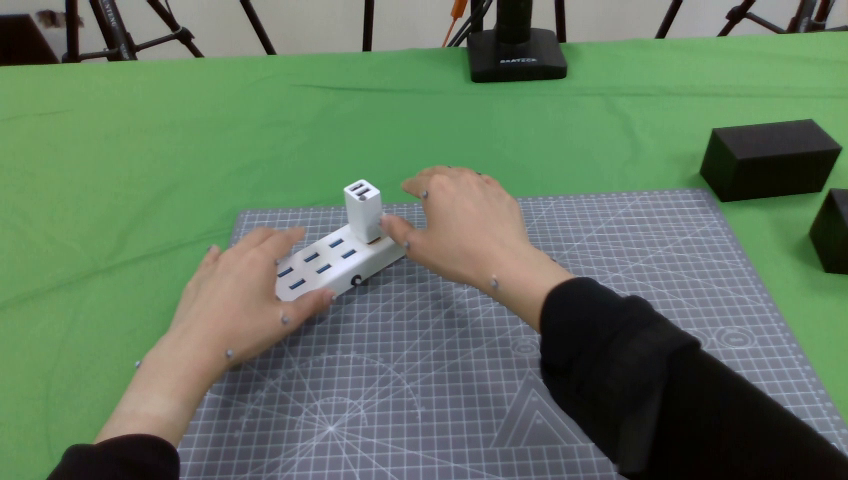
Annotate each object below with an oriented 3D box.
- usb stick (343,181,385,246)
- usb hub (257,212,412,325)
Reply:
[{"bbox_3d":[-0.048,-0.017,0.501,0.021,0.060,0.027,-34,48,-28],"label":"usb stick"},{"bbox_3d":[-0.073,0.020,0.509,0.125,0.025,0.049,-31,48,-28],"label":"usb hub"}]
